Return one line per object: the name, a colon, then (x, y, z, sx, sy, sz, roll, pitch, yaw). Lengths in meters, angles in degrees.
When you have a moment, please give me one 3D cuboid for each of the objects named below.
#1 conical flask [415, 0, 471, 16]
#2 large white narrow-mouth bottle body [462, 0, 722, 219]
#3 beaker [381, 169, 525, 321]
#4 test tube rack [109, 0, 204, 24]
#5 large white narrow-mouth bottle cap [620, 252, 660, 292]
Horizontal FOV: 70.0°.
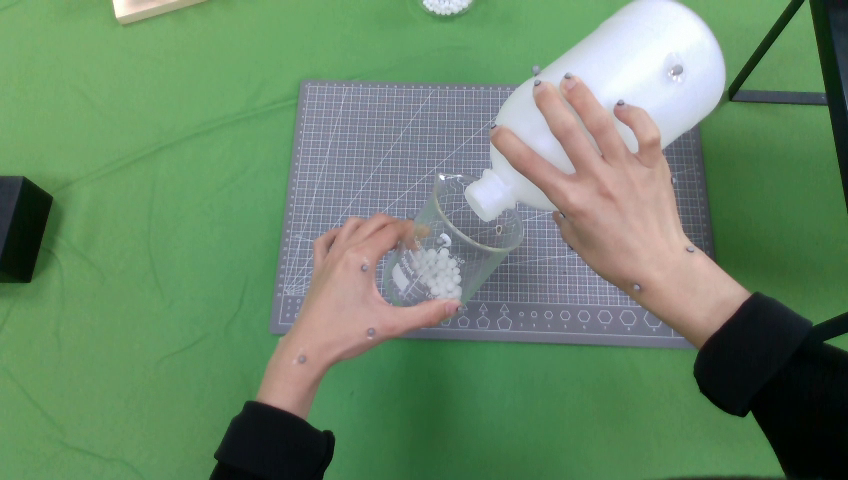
conical flask: (0.021, -0.323, 0.690, 0.075, 0.122, 0.075, -1, 69, 2)
large white narrow-mouth bottle body: (0.110, -0.084, 0.440, 0.194, 0.102, 0.101, -38, 73, -6)
beaker: (0.015, 0.007, 0.458, 0.074, 0.100, 0.083, -23, 66, -46)
test tube rack: (-0.272, -0.345, 0.724, 0.242, 0.086, 0.066, -18, 70, -5)
large white narrow-mouth bottle cap: (0.217, 0.033, 0.608, 0.038, 0.024, 0.037, -1, 71, 3)
